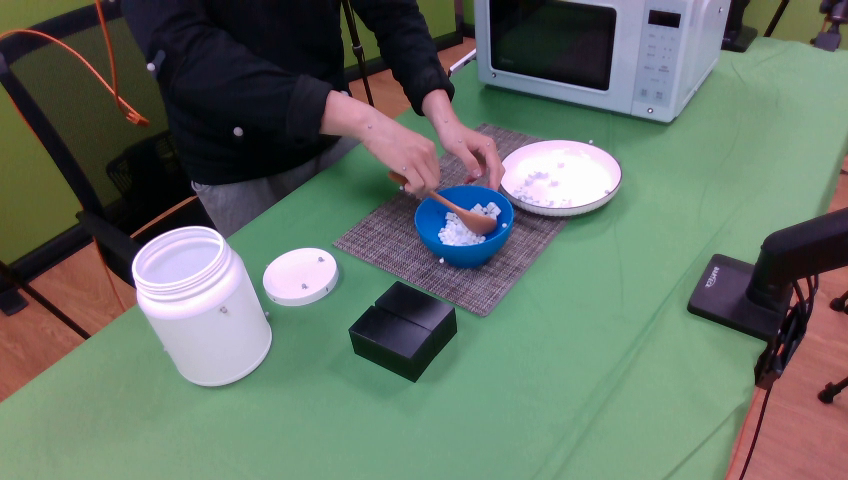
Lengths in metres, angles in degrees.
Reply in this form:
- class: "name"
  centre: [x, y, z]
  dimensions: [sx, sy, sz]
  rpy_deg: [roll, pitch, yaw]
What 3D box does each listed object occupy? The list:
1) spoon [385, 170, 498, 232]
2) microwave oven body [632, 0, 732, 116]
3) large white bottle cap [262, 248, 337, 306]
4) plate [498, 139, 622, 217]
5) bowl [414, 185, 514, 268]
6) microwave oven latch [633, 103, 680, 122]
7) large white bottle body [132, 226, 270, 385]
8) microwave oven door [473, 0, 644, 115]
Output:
- class: "spoon"
  centre: [0.027, -0.058, 0.893]
  dimensions: [0.195, 0.041, 0.021]
  rpy_deg: [27, 43, -18]
- class: "microwave oven body"
  centre: [0.377, -0.463, 1.267]
  dimensions: [0.438, 0.261, 0.327]
  rpy_deg: [21, 49, 30]
- class: "large white bottle cap"
  centre: [-0.193, 0.056, 0.933]
  dimensions: [0.115, 0.018, 0.114]
  rpy_deg: [-4, 41, 4]
- class: "plate"
  centre: [0.230, -0.103, 1.038]
  dimensions: [0.209, 0.038, 0.208]
  rpy_deg: [-4, 41, 4]
- class: "bowl"
  centre: [0.063, -0.010, 0.922]
  dimensions: [0.151, 0.077, 0.150]
  rpy_deg: [-4, 39, 4]
- class: "microwave oven latch"
  centre: [0.443, -0.249, 1.157]
  dimensions: [0.078, 0.029, 0.030]
  rpy_deg: [20, 48, 30]
- class: "large white bottle body"
  centre: [-0.286, 0.085, 0.784]
  dimensions: [0.130, 0.185, 0.130]
  rpy_deg: [-4, 41, 4]
- class: "microwave oven door"
  centre: [0.257, -0.396, 1.199]
  dimensions: [0.353, 0.245, 0.039]
  rpy_deg: [21, 48, 29]
